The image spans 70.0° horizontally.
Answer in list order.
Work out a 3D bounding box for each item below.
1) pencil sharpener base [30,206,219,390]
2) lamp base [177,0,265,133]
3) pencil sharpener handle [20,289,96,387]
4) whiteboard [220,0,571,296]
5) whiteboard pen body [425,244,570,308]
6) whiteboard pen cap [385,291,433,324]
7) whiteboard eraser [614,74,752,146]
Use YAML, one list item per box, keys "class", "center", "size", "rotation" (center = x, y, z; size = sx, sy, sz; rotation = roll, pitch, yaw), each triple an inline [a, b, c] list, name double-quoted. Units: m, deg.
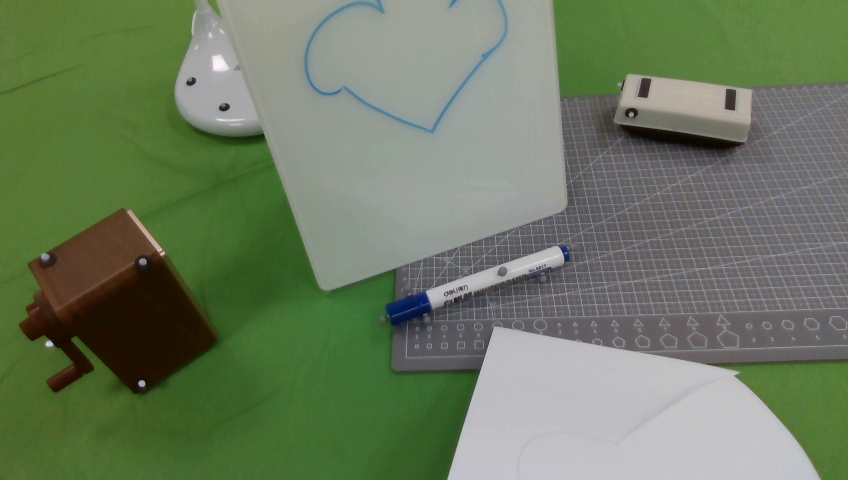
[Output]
- class: "pencil sharpener base"
  center: [-0.201, 0.043, 0.415]
  size: [0.076, 0.108, 0.061]
  rotation: [-36, 56, -22]
- class: "lamp base"
  center: [-0.193, -0.222, 0.585]
  size: [0.177, 0.182, 0.160]
  rotation: [32, 60, 30]
- class: "pencil sharpener handle"
  center: [-0.238, 0.065, 0.384]
  size: [0.030, 0.068, 0.035]
  rotation: [-36, 44, -22]
- class: "whiteboard"
  center: [-0.026, -0.148, 0.467]
  size: [0.217, 0.308, 0.142]
  rotation: [-18, 32, -9]
- class: "whiteboard pen body"
  center: [0.045, 0.030, 0.454]
  size: [0.141, 0.017, 0.017]
  rotation: [-18, 51, -9]
- class: "whiteboard pen cap"
  center: [-0.010, 0.049, 0.445]
  size: [0.033, 0.018, 0.018]
  rotation: [-19, 51, -9]
- class: "whiteboard eraser"
  center: [0.233, -0.117, 0.548]
  size: [0.112, 0.042, 0.055]
  rotation: [13, 54, 15]
